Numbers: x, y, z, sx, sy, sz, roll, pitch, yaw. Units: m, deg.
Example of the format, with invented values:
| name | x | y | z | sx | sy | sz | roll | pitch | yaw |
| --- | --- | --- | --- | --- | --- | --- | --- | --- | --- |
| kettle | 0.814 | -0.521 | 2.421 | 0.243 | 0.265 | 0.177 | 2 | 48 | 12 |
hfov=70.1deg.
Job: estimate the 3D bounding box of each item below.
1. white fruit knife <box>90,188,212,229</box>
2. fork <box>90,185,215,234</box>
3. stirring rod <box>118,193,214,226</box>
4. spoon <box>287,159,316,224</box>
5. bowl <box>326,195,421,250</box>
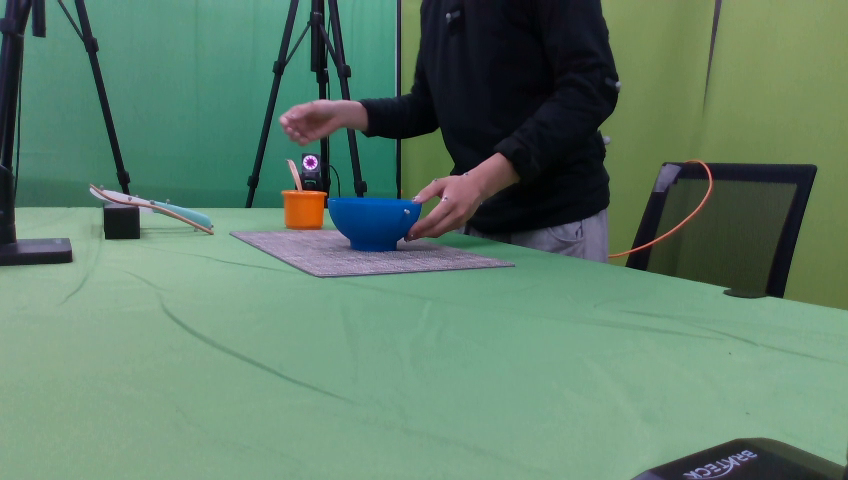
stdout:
| name | x | y | z | sx | sy | sz | roll | pitch | yaw |
| --- | --- | --- | --- | --- | --- | --- | --- | --- | --- |
| white fruit knife | -0.478 | -0.058 | 1.073 | 0.208 | 0.027 | 0.016 | 17 | -4 | -30 |
| fork | -0.452 | -0.049 | 1.018 | 0.208 | 0.018 | 0.028 | 21 | -7 | -33 |
| stirring rod | -0.484 | -0.057 | 1.143 | 0.177 | 0.006 | 0.014 | 20 | -4 | -29 |
| spoon | -0.261 | -0.104 | 1.263 | 0.042 | 0.021 | 0.193 | 0 | 53 | -28 |
| bowl | -0.081 | -0.027 | 0.958 | 0.151 | 0.077 | 0.151 | 2 | 7 | 0 |
